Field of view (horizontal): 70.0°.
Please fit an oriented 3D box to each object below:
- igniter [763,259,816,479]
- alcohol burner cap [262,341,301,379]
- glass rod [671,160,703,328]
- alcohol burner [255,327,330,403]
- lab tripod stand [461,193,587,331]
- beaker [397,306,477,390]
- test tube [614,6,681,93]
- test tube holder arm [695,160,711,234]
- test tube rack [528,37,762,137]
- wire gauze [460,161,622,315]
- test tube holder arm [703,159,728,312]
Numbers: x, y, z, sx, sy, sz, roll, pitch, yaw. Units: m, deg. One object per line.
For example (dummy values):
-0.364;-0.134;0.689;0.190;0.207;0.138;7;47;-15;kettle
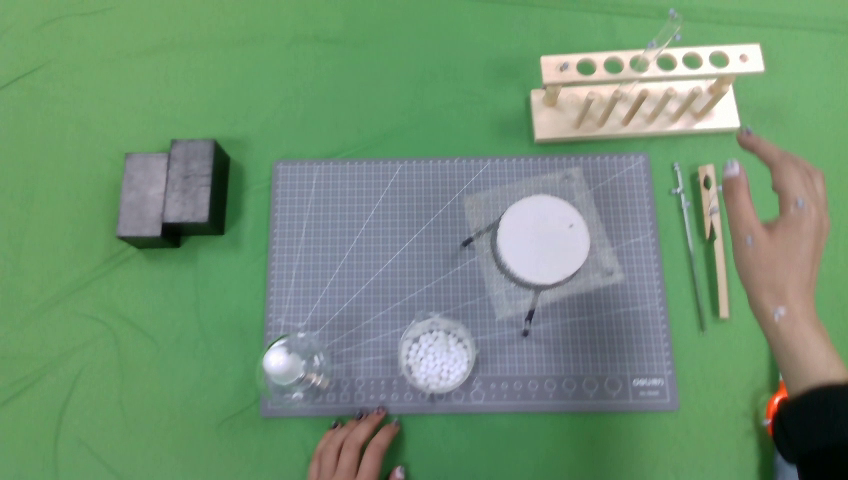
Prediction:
0.389;0.155;0.643;0.057;0.025;0.275;12;76;-6;igniter
-0.139;0.113;0.579;0.034;0.048;0.033;0;66;0;alcohol burner cap
0.300;0.001;0.694;0.008;0.008;0.198;-3;75;0;glass rod
-0.137;0.125;0.613;0.078;0.120;0.077;0;73;2;alcohol burner
0.104;0.014;0.627;0.148;0.132;0.147;-1;76;3;lab tripod stand
0.011;0.114;0.621;0.074;0.101;0.083;-22;75;-5;beaker
0.238;-0.201;0.658;0.017;0.151;0.017;1;75;-3;test tube
0.325;-0.050;0.703;0.010;0.015;0.087;-10;73;33;test tube holder arm
0.250;-0.174;0.702;0.242;0.085;0.066;-4;75;0;test tube rack
0.107;-0.005;0.563;0.121;0.011;0.124;-16;76;-2;wire gauze
0.331;-0.007;0.689;0.013;0.015;0.177;-10;73;33;test tube holder arm
